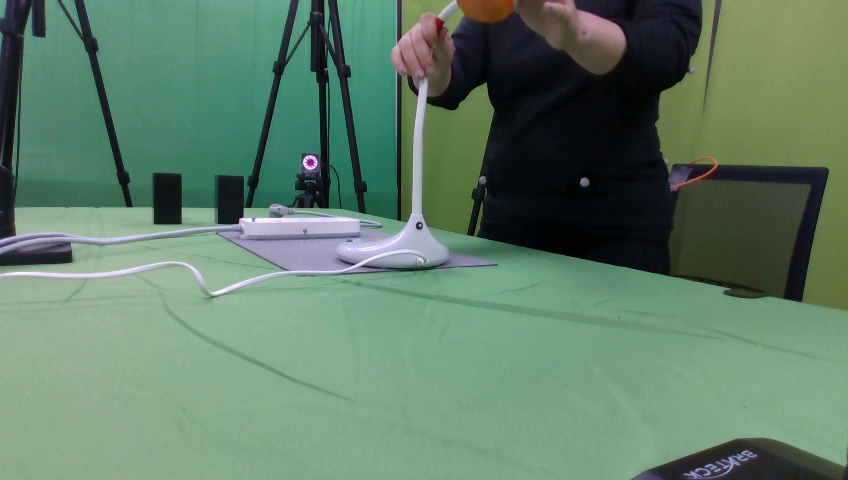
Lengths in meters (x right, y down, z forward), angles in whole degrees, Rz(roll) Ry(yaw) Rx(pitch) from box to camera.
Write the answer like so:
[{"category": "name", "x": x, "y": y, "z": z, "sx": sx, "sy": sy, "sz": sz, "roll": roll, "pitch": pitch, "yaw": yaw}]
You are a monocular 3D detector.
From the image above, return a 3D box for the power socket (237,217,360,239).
[{"category": "power socket", "x": -0.220, "y": -0.023, "z": 1.080, "sx": 0.228, "sy": 0.032, "sz": 0.072, "roll": -2, "pitch": 8, "yaw": -33}]

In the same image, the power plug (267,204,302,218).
[{"category": "power plug", "x": -0.327, "y": -0.060, "z": 1.404, "sx": 0.073, "sy": 0.035, "sz": 0.052, "roll": 22, "pitch": -14, "yaw": -26}]

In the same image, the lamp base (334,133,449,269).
[{"category": "lamp base", "x": -0.034, "y": -0.057, "z": 0.831, "sx": 0.161, "sy": 0.180, "sz": 0.178, "roll": -3, "pitch": 12, "yaw": -36}]

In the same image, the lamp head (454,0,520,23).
[{"category": "lamp head", "x": 0.073, "y": -0.317, "z": 0.702, "sx": 0.112, "sy": 0.122, "sz": 0.112, "roll": 8, "pitch": -2, "yaw": 1}]
